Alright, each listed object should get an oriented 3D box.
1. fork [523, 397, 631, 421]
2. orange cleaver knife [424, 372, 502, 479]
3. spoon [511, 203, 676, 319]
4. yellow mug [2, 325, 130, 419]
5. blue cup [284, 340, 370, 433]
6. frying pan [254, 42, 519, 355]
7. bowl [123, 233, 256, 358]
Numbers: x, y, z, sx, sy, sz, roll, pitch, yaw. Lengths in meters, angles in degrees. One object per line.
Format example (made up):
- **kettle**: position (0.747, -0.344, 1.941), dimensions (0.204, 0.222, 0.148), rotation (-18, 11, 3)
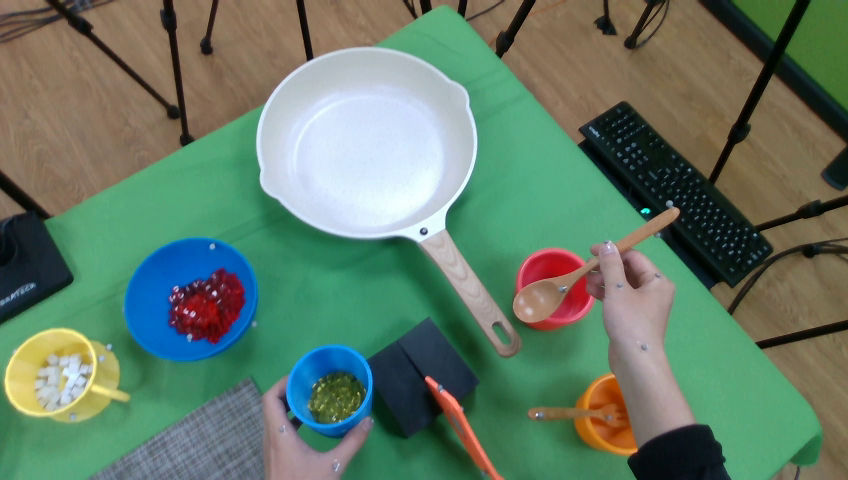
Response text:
- **fork**: position (0.177, 0.190, 0.682), dimensions (0.209, 0.018, 0.028), rotation (16, 62, -44)
- **orange cleaver knife**: position (0.059, 0.241, 0.693), dimensions (0.012, 0.077, 0.212), rotation (-33, 103, -15)
- **spoon**: position (0.170, 0.022, 0.619), dimensions (0.194, 0.022, 0.041), rotation (-37, 68, 24)
- **yellow mug**: position (-0.406, 0.160, 0.706), dimensions (0.131, 0.064, 0.099), rotation (18, 69, 3)
- **blue cup**: position (-0.095, 0.164, 0.644), dimensions (0.092, 0.101, 0.092), rotation (0, 61, 0)
- **frying pan**: position (-0.026, -0.054, 0.788), dimensions (0.307, 0.103, 0.483), rotation (-28, 65, -12)
- **bowl**: position (-0.275, 0.075, 0.740), dimensions (0.151, 0.077, 0.150), rotation (1, 70, -3)
